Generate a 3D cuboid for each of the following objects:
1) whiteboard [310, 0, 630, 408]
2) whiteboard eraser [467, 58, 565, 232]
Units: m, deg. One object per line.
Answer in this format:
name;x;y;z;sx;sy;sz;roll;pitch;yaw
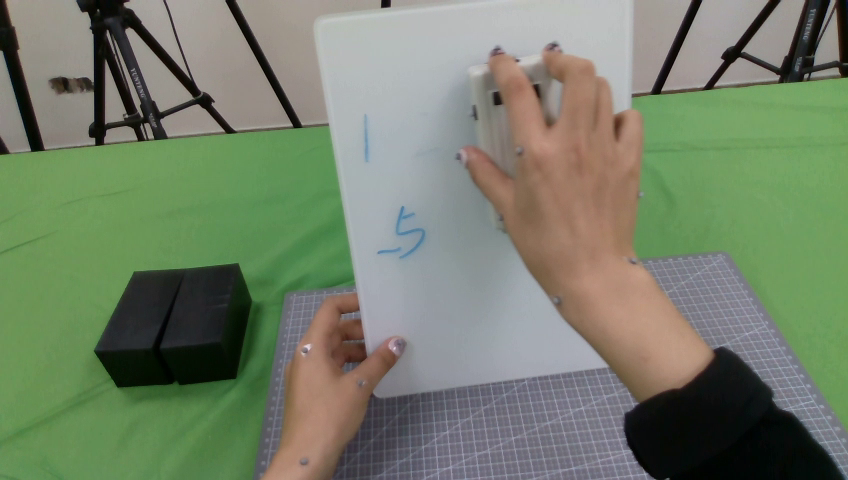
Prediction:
whiteboard;0.043;-0.039;0.518;0.217;0.307;0.143;-7;21;-1
whiteboard eraser;0.065;-0.065;0.419;0.055;0.113;0.041;-11;20;-2
